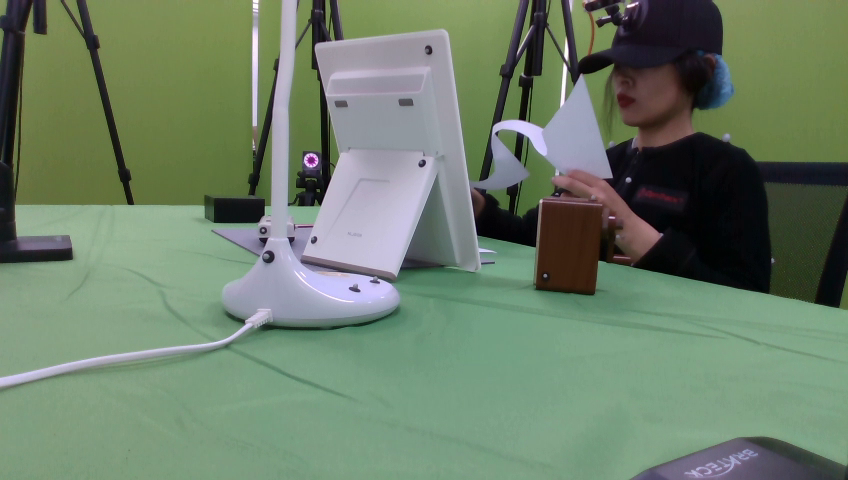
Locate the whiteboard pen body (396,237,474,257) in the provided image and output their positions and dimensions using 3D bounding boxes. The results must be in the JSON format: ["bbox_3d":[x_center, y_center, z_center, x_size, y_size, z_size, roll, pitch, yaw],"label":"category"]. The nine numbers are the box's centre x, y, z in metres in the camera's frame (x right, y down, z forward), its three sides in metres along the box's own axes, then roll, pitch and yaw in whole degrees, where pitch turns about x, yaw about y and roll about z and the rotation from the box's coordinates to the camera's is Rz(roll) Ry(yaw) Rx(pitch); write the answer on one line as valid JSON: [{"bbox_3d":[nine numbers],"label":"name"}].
[{"bbox_3d":[0.014,0.012,0.886,0.140,0.017,0.017,9,10,38],"label":"whiteboard pen body"}]

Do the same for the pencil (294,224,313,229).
[{"bbox_3d":[-0.221,-0.028,1.211,0.195,0.012,0.012,-5,10,-34],"label":"pencil"}]

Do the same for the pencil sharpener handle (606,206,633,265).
[{"bbox_3d":[0.223,-0.004,0.683,0.030,0.068,0.036,5,20,17],"label":"pencil sharpener handle"}]

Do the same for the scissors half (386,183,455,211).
[{"bbox_3d":[-0.004,-0.085,1.149,0.176,0.013,0.040,13,-38,-40],"label":"scissors half"}]

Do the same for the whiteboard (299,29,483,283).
[{"bbox_3d":[-0.074,-0.082,0.742,0.216,0.305,0.144,9,30,38],"label":"whiteboard"}]

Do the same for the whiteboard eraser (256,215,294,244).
[{"bbox_3d":[-0.232,-0.016,0.951,0.056,0.042,0.112,2,7,-12],"label":"whiteboard eraser"}]

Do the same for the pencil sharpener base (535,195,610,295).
[{"bbox_3d":[0.172,0.005,0.696,0.076,0.107,0.061,5,7,16],"label":"pencil sharpener base"}]

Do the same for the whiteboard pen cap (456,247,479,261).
[{"bbox_3d":[0.060,0.020,0.851,0.033,0.018,0.018,9,10,37],"label":"whiteboard pen cap"}]

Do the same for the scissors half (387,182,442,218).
[{"bbox_3d":[-0.020,-0.076,1.159,0.040,0.012,0.176,-21,-28,23],"label":"scissors half"}]

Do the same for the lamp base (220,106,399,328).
[{"bbox_3d":[-0.101,-0.023,0.531,0.160,0.180,0.179,4,10,10],"label":"lamp base"}]
